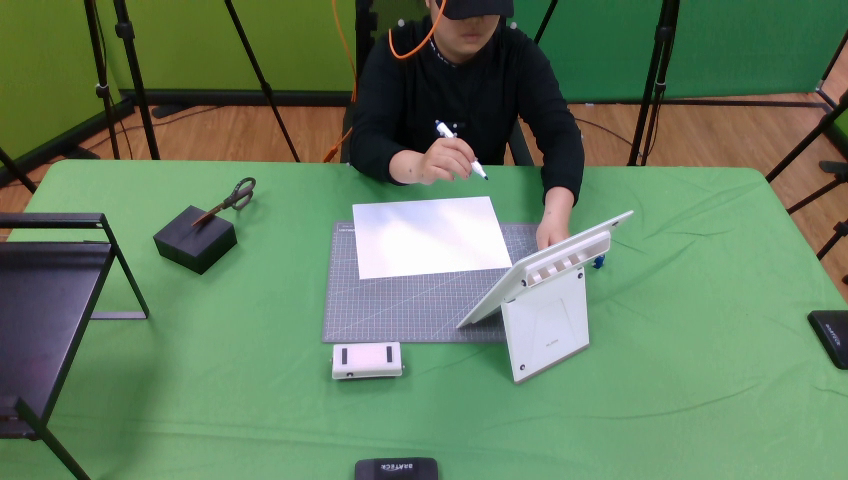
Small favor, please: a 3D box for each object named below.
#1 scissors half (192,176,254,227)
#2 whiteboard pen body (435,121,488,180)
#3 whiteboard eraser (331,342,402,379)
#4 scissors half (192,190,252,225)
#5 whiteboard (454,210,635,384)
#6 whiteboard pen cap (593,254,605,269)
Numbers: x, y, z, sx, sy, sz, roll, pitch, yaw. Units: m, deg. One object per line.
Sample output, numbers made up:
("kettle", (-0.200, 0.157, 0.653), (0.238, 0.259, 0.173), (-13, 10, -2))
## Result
("scissors half", (-0.388, -0.075, 1.174), (0.013, 0.040, 0.174), (29, 47, 8))
("whiteboard pen body", (0.068, -0.157, 1.062), (0.017, 0.017, 0.140), (-31, 74, -29))
("whiteboard eraser", (-0.094, 0.198, 0.986), (0.113, 0.042, 0.055), (-2, 44, -6))
("scissors half", (-0.394, -0.060, 1.187), (0.013, 0.040, 0.175), (25, 29, 12))
("whiteboard", (0.210, 0.110, 0.955), (0.217, 0.306, 0.143), (-21, 72, -23))
("whiteboard pen cap", (0.340, 0.041, 1.179), (0.018, 0.033, 0.018), (1, 46, -1))
